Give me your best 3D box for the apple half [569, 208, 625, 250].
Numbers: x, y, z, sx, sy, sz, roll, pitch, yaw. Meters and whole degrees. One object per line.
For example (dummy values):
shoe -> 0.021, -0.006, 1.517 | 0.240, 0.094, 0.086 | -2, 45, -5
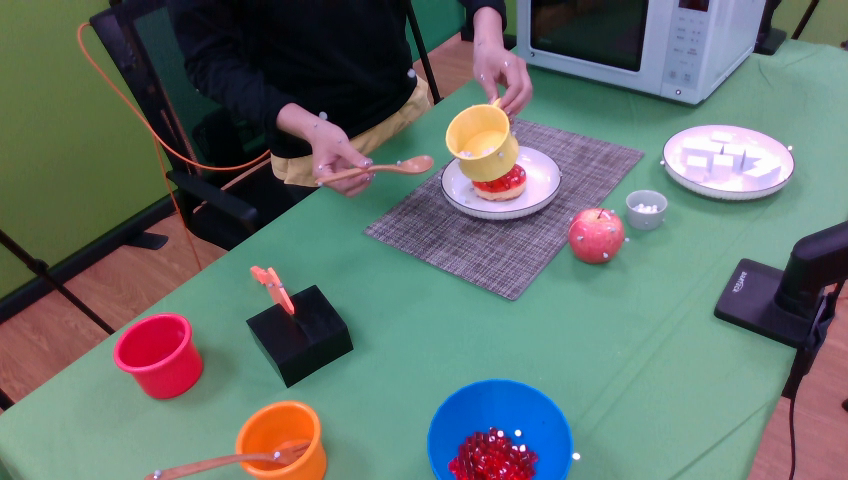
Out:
apple half -> 0.262, -0.014, 0.913 | 0.080, 0.075, 0.053 | 5, 37, 20

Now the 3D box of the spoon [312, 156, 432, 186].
spoon -> -0.071, -0.099, 0.865 | 0.195, 0.021, 0.041 | -12, 38, -34

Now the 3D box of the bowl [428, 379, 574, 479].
bowl -> 0.082, 0.233, 0.644 | 0.151, 0.077, 0.150 | -4, 39, 4

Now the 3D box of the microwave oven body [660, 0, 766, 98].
microwave oven body -> 0.472, -0.513, 1.317 | 0.438, 0.261, 0.327 | 26, 51, 34

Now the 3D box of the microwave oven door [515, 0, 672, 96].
microwave oven door -> 0.343, -0.455, 1.259 | 0.353, 0.245, 0.039 | 26, 51, 33

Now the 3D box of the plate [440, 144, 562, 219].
plate -> 0.134, -0.098, 1.051 | 0.209, 0.038, 0.208 | -4, 40, 4

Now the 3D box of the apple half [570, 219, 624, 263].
apple half -> 0.250, 0.009, 0.885 | 0.081, 0.081, 0.033 | 7, 39, 17

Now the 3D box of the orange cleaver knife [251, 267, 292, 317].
orange cleaver knife -> -0.221, 0.071, 0.873 | 0.012, 0.077, 0.210 | -25, 11, -21

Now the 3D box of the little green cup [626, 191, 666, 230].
little green cup -> 0.352, -0.046, 0.963 | 0.061, 0.039, 0.061 | -4, 40, 4

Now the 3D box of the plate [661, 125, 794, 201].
plate -> 0.513, -0.128, 1.035 | 0.207, 0.039, 0.206 | -4, 40, 4

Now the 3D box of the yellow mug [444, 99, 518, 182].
yellow mug -> 0.096, -0.160, 0.929 | 0.099, 0.064, 0.131 | 21, 72, 31

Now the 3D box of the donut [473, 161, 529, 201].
donut -> 0.132, -0.105, 1.043 | 0.099, 0.048, 0.098 | -5, 37, 4

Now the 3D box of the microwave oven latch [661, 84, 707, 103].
microwave oven latch -> 0.517, -0.296, 1.204 | 0.078, 0.029, 0.030 | 27, 52, 35

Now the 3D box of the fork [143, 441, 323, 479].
fork -> -0.189, 0.231, 0.631 | 0.028, 0.018, 0.209 | 35, 13, 37
